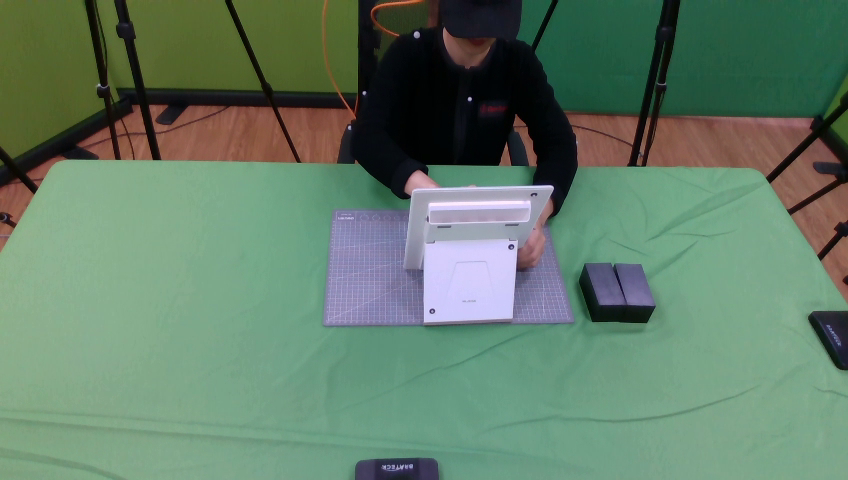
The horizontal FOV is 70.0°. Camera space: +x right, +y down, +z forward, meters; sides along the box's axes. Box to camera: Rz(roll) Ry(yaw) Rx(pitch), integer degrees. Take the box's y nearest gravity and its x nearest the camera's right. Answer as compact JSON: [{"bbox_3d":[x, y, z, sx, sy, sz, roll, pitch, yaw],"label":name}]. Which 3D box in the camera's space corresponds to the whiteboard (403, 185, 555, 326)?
[{"bbox_3d":[0.081,0.044,1.005,0.217,0.306,0.143,-1,65,-5],"label":"whiteboard"}]

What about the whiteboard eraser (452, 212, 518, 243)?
[{"bbox_3d":[0.109,-0.019,1.073,0.112,0.056,0.041,-4,64,9],"label":"whiteboard eraser"}]
